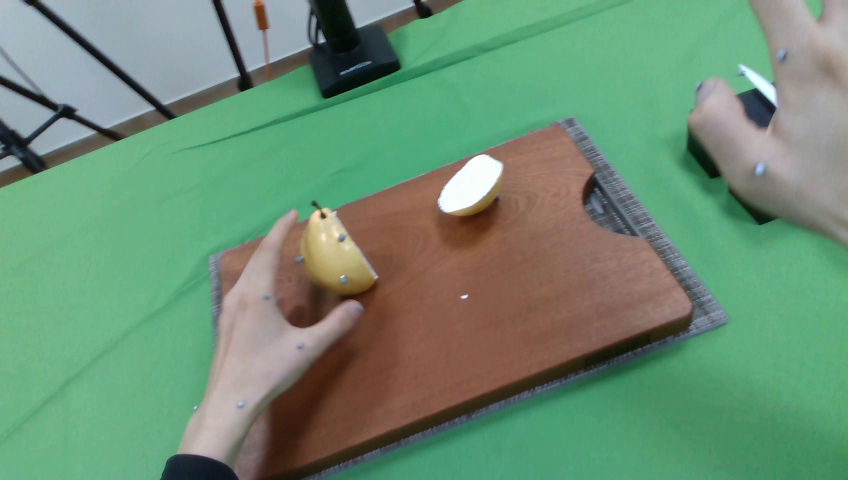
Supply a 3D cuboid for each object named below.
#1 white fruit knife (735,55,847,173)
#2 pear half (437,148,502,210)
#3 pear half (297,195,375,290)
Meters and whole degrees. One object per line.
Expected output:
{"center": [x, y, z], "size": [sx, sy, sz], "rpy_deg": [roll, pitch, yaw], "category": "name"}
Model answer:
{"center": [0.337, -0.114, 0.543], "size": [0.027, 0.016, 0.205], "rpy_deg": [-3, 45, -14], "category": "white fruit knife"}
{"center": [0.050, -0.056, 0.602], "size": [0.070, 0.031, 0.087], "rpy_deg": [-10, 35, 30], "category": "pear half"}
{"center": [-0.090, 0.003, 0.549], "size": [0.056, 0.111, 0.075], "rpy_deg": [-36, 47, -12], "category": "pear half"}
